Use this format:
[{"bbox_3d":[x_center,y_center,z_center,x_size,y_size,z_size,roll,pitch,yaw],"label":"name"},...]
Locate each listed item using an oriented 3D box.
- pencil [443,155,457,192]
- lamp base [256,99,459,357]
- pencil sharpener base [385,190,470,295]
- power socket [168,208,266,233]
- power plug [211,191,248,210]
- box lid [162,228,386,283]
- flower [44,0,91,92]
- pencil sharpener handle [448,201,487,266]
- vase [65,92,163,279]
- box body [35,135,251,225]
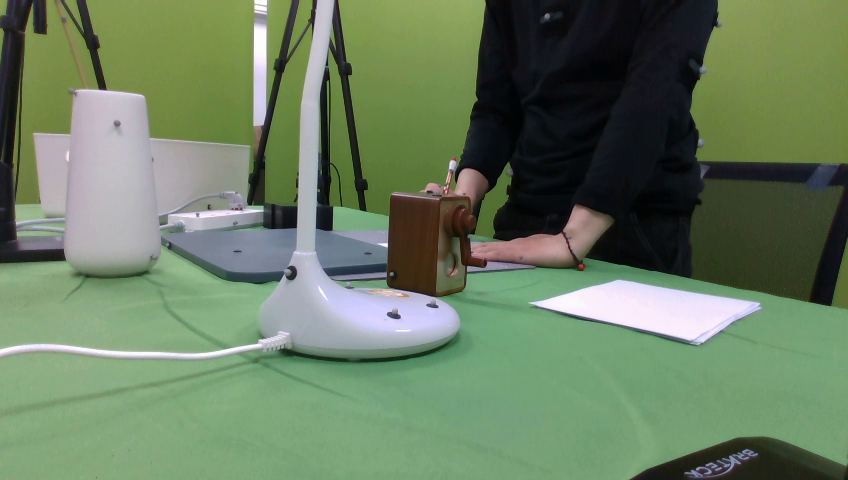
[{"bbox_3d":[0.032,-0.068,1.002,0.012,0.194,0.012,10,-33,7],"label":"pencil"},{"bbox_3d":[-0.055,-0.013,0.463,0.160,0.180,0.180,6,11,27],"label":"lamp base"},{"bbox_3d":[0.006,0.001,0.653,0.076,0.107,0.061,8,9,37],"label":"pencil sharpener base"},{"bbox_3d":[-0.379,-0.038,1.129,0.072,0.032,0.227,4,8,18],"label":"power socket"},{"bbox_3d":[-0.384,-0.071,1.205,0.072,0.052,0.035,1,8,28],"label":"power plug"},{"bbox_3d":[-0.200,0.014,0.861,0.265,0.015,0.369,-4,10,-35],"label":"box lid"},{"bbox_3d":[-0.361,-0.142,0.663,0.044,0.361,0.038,-12,11,31],"label":"flower"},{"bbox_3d":[0.049,-0.006,0.623,0.030,0.068,0.036,8,22,37],"label":"pencil sharpener handle"},{"bbox_3d":[-0.347,-0.060,0.673,0.098,0.200,0.098,1,7,0],"label":"vase"},{"bbox_3d":[-0.559,-0.127,1.257,0.253,0.160,0.365,4,8,15],"label":"box body"}]
